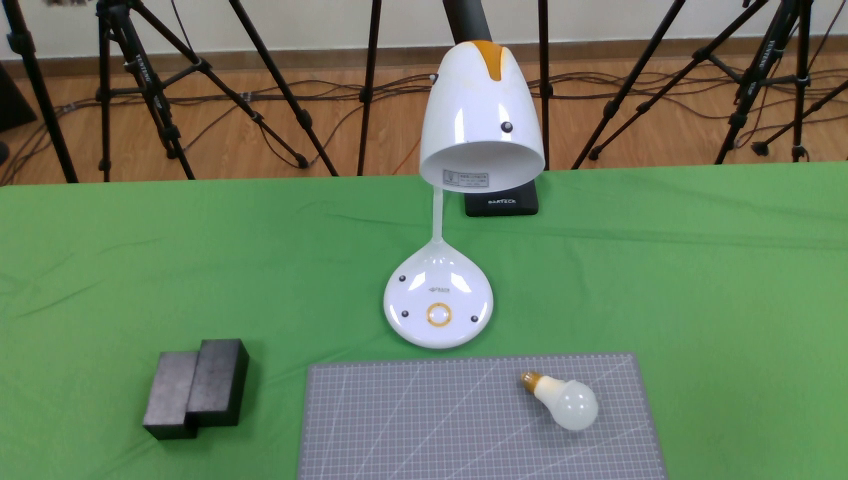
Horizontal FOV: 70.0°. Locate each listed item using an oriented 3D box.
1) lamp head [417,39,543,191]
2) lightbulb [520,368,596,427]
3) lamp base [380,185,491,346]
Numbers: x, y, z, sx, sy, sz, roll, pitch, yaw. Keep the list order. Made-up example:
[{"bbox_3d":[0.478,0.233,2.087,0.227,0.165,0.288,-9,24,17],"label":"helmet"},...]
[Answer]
[{"bbox_3d":[0.047,-0.116,0.553,0.112,0.113,0.122,-2,68,-1],"label":"lamp head"},{"bbox_3d":[0.168,0.196,0.777,0.106,0.060,0.059,26,56,37],"label":"lightbulb"},{"bbox_3d":[0.014,0.026,0.827,0.161,0.182,0.177,-6,50,-4],"label":"lamp base"}]
